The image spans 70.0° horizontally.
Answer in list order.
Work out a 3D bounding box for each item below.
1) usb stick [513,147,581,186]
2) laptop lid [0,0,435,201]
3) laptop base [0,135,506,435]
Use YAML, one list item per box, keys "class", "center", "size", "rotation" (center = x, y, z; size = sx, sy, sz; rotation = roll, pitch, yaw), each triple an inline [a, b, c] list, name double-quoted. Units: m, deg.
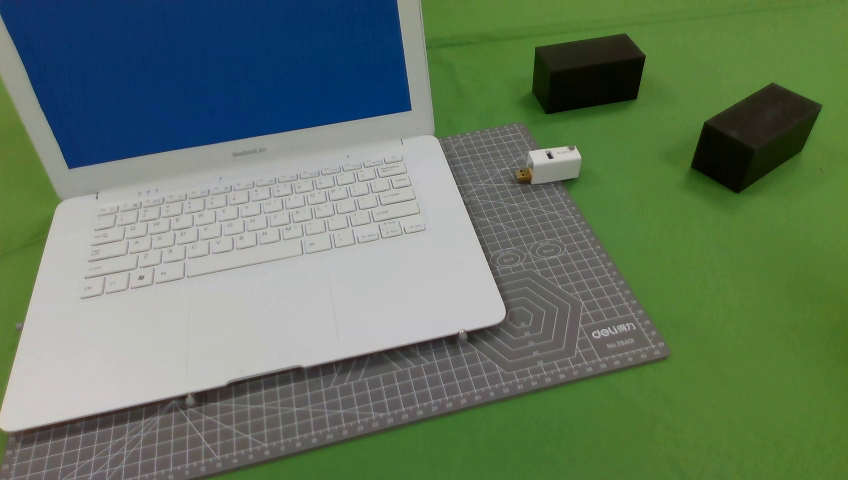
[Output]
- class: "usb stick"
  center: [0.111, -0.067, 0.553]
  size: [0.059, 0.027, 0.021]
  rotation: [-10, 45, -2]
- class: "laptop lid"
  center: [-0.173, -0.164, 0.517]
  size: [0.357, 0.244, 0.013]
  rotation: [-13, 32, -6]
- class: "laptop base"
  center: [-0.134, 0.017, 0.498]
  size: [0.355, 0.023, 0.233]
  rotation: [-11, 49, -7]
